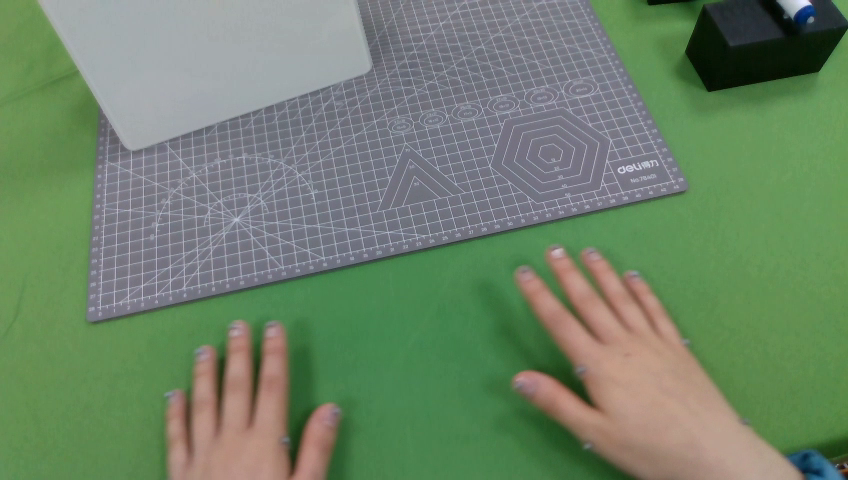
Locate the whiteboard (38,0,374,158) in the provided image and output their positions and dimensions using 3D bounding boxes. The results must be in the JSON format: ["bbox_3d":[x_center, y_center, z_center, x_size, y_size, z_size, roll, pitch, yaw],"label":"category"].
[{"bbox_3d":[-0.191,-0.258,0.463,0.217,0.308,0.142,-21,42,-8],"label":"whiteboard"}]

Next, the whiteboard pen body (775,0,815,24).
[{"bbox_3d":[0.273,-0.226,0.496,0.017,0.017,0.139,-16,60,-6],"label":"whiteboard pen body"}]
